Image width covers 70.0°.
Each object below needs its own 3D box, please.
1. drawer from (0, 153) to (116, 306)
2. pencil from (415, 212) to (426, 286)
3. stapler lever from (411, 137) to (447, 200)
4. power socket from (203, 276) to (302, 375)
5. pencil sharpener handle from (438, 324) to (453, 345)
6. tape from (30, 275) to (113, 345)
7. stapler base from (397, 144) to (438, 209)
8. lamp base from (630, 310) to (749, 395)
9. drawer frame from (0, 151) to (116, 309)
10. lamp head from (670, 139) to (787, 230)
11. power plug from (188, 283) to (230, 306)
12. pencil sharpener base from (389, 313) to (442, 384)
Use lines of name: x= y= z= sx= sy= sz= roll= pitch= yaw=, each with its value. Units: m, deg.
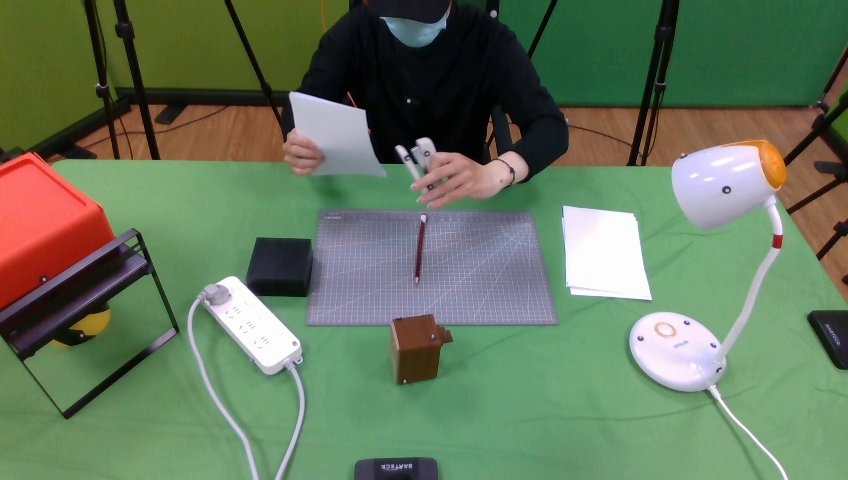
drawer: x=-0.601 y=-0.015 z=0.880 sx=0.193 sy=0.073 sz=0.211 roll=32 pitch=53 yaw=23
pencil: x=-0.007 y=0.014 z=1.190 sx=0.012 sy=0.012 sz=0.193 roll=5 pitch=48 yaw=1
stapler lever: x=0.016 y=-0.128 z=1.070 sx=0.040 sy=0.118 sz=0.026 roll=-29 pitch=28 yaw=-1
power socket: x=-0.297 y=0.141 z=1.034 sx=0.072 sy=0.033 sz=0.225 roll=-34 pitch=58 yaw=-30
pencil sharpener handle: x=0.036 y=0.155 z=0.976 sx=0.031 sy=0.068 sz=0.036 roll=-8 pitch=69 yaw=-11
tape: x=-0.594 y=0.117 z=1.021 sx=0.117 sy=0.053 sz=0.116 roll=2 pitch=45 yaw=-2
stapler base: x=-0.006 y=-0.116 z=1.068 sx=0.024 sy=0.131 sz=0.041 roll=-30 pitch=28 yaw=-1
lamp base: x=0.447 y=0.142 z=0.984 sx=0.161 sy=0.181 sz=0.178 roll=-24 pitch=55 yaw=-24
drawer frame: x=-0.604 y=-0.013 z=0.875 sx=0.201 sy=0.083 sz=0.213 roll=31 pitch=52 yaw=23
lamp head: x=0.415 y=-0.079 z=0.812 sx=0.113 sy=0.123 sz=0.112 roll=13 pitch=70 yaw=-37
power plug: x=-0.368 y=0.099 z=1.037 sx=0.072 sy=0.053 sz=0.035 roll=-24 pitch=52 yaw=-26
pencil sharpener base: x=-0.013 y=0.175 z=0.971 sx=0.077 sy=0.107 sz=0.061 roll=-8 pitch=47 yaw=-11
